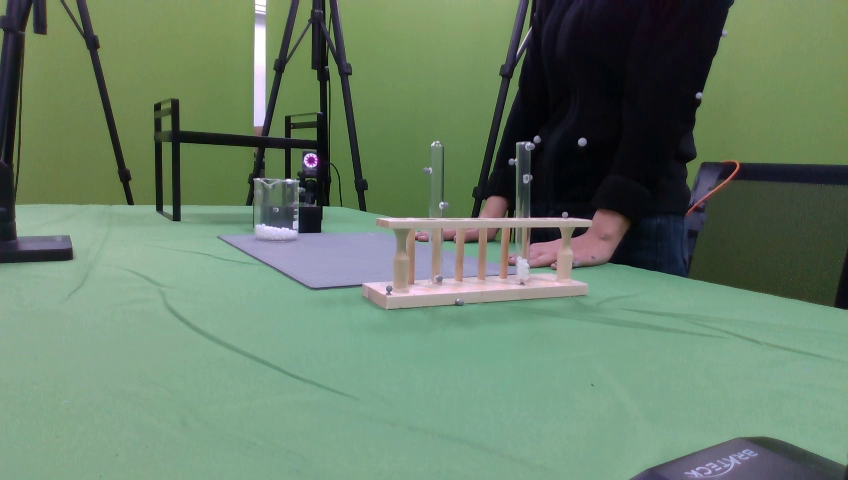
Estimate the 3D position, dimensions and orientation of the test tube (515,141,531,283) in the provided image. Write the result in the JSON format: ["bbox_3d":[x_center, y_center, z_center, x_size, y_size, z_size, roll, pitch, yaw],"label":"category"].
[{"bbox_3d":[0.104,-0.028,0.636,0.017,0.150,0.017,-1,12,1],"label":"test tube"}]

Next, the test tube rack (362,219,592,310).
[{"bbox_3d":[0.060,0.019,0.640,0.243,0.085,0.066,-1,8,-27],"label":"test tube rack"}]

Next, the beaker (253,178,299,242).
[{"bbox_3d":[-0.243,-0.050,0.990,0.074,0.100,0.084,2,9,1],"label":"beaker"}]

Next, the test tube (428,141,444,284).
[{"bbox_3d":[0.013,-0.027,0.630,0.017,0.150,0.017,1,8,0],"label":"test tube"}]
